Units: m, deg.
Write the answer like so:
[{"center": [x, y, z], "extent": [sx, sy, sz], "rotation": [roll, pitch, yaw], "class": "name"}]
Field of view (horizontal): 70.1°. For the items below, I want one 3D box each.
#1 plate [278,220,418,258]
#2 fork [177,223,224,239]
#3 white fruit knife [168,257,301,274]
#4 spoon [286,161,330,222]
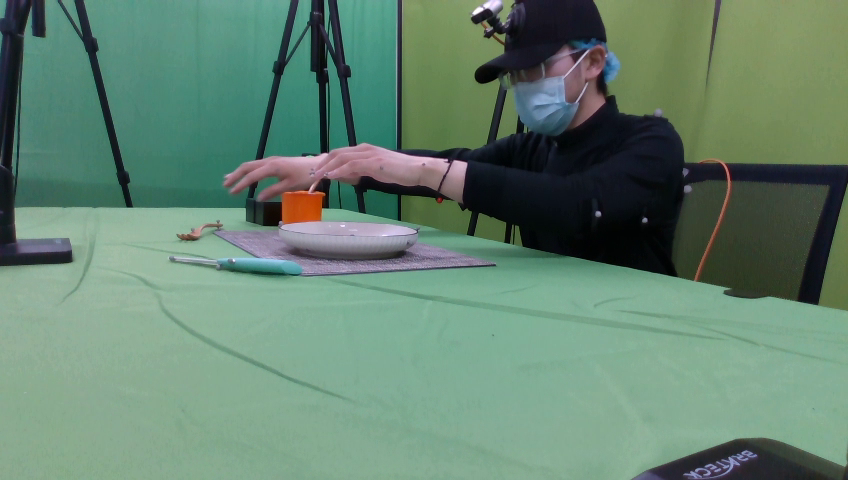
[{"center": [-0.114, -0.002, 0.914], "extent": [0.209, 0.038, 0.209], "rotation": [2, 7, 0], "class": "plate"}, {"center": [-0.386, -0.019, 1.061], "extent": [0.028, 0.018, 0.207], "rotation": [-3, 9, -1], "class": "fork"}, {"center": [-0.243, 0.029, 0.749], "extent": [0.206, 0.016, 0.027], "rotation": [2, -17, 26], "class": "white fruit knife"}, {"center": [-0.234, -0.101, 1.252], "extent": [0.041, 0.022, 0.193], "rotation": [5, 53, 21], "class": "spoon"}]
